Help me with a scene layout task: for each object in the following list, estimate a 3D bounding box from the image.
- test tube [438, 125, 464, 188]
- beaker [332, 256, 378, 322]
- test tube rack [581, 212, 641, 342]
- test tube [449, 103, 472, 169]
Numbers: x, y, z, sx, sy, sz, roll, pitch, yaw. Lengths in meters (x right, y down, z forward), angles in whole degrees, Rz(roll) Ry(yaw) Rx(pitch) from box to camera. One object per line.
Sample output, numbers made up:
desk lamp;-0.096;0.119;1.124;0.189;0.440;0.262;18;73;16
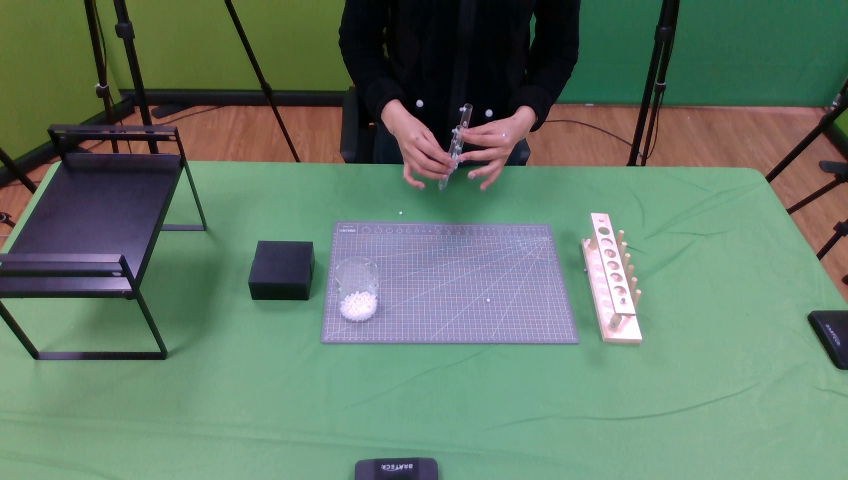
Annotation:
test tube;0.048;-0.148;1.094;0.017;0.151;0.017;7;51;-9
beaker;-0.114;0.089;1.047;0.083;0.101;0.074;30;52;21
test tube rack;0.351;0.064;1.121;0.067;0.085;0.241;3;46;-1
test tube;0.065;-0.185;1.101;0.017;0.151;0.017;5;50;-6
